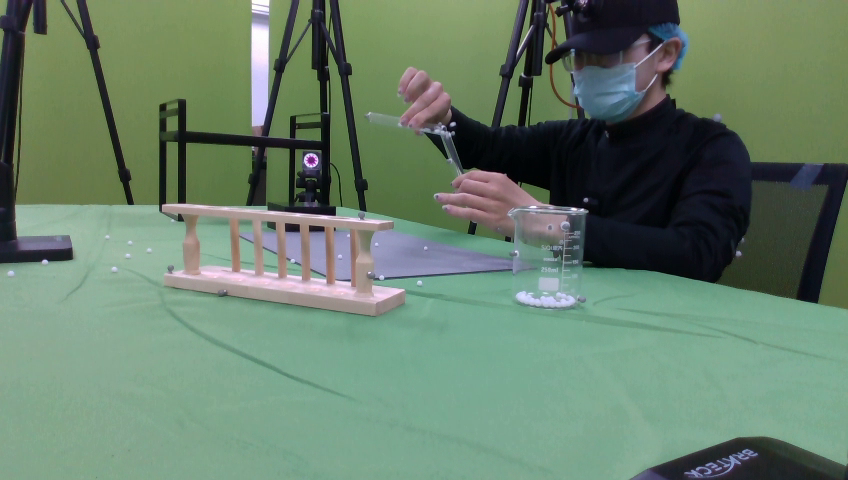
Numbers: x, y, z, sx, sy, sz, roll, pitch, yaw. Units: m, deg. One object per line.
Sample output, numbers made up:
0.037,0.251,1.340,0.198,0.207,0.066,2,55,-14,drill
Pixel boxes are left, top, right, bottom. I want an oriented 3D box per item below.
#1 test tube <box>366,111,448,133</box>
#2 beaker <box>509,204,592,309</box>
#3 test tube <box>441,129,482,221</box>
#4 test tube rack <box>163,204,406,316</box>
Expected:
-0.030,-0.188,0.961,0.149,0.017,0.017,15,13,28,test tube
0.125,0.015,0.613,0.084,0.100,0.074,1,7,-5,beaker
0.057,-0.099,0.920,0.017,0.150,0.017,-20,-4,-1,test tube
-0.141,0.013,0.601,0.241,0.085,0.067,5,8,21,test tube rack
